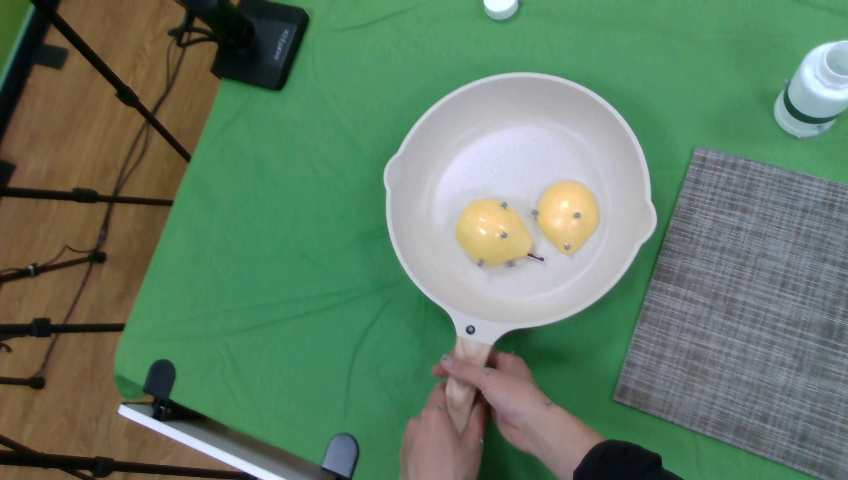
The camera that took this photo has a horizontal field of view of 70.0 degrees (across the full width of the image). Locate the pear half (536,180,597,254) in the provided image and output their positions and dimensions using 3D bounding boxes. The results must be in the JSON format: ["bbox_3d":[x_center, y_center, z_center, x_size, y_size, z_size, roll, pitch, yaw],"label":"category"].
[{"bbox_3d":[0.163,-0.030,0.700,0.070,0.031,0.087,-4,74,18],"label":"pear half"}]

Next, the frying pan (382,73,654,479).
[{"bbox_3d":[0.070,0.052,0.670,0.305,0.103,0.486,14,74,17],"label":"frying pan"}]

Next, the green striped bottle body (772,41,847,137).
[{"bbox_3d":[0.408,-0.156,0.620,0.063,0.120,0.063,-3,77,14],"label":"green striped bottle body"}]

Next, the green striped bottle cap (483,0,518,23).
[{"bbox_3d":[0.099,-0.304,0.781,0.044,0.020,0.044,-3,77,14],"label":"green striped bottle cap"}]

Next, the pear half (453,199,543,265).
[{"bbox_3d":[0.088,-0.004,0.702,0.109,0.056,0.076,25,91,14],"label":"pear half"}]
